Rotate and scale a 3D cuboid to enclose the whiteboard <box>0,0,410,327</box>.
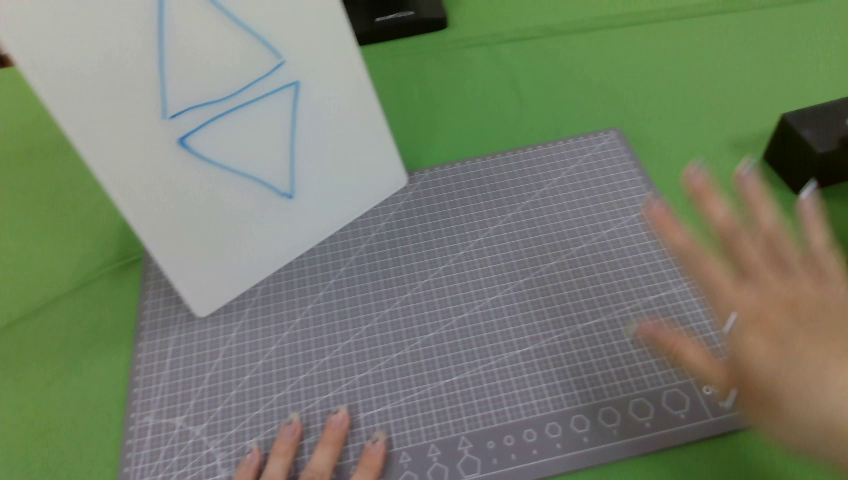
[{"bbox_3d":[-0.180,-0.129,0.489,0.217,0.308,0.142,-35,35,-19],"label":"whiteboard"}]

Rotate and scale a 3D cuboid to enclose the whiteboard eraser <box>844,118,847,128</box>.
[{"bbox_3d":[0.371,-0.064,0.444,0.055,0.042,0.111,-19,50,-3],"label":"whiteboard eraser"}]
